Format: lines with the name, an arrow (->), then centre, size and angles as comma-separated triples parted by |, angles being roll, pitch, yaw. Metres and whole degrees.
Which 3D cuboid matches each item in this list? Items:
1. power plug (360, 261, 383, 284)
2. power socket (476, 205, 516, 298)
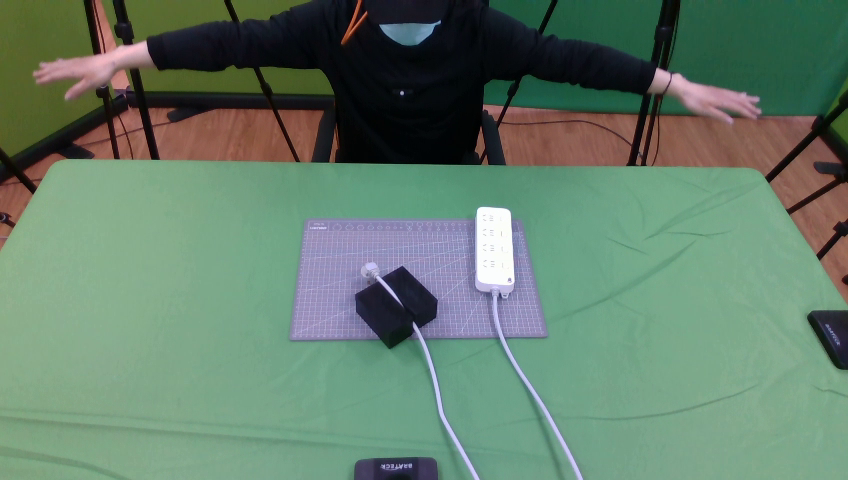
power plug -> -0.094, 0.068, 1.092 | 0.035, 0.053, 0.072 | -9, 45, -7
power socket -> 0.139, 0.013, 1.178 | 0.072, 0.033, 0.225 | 4, 47, 2
